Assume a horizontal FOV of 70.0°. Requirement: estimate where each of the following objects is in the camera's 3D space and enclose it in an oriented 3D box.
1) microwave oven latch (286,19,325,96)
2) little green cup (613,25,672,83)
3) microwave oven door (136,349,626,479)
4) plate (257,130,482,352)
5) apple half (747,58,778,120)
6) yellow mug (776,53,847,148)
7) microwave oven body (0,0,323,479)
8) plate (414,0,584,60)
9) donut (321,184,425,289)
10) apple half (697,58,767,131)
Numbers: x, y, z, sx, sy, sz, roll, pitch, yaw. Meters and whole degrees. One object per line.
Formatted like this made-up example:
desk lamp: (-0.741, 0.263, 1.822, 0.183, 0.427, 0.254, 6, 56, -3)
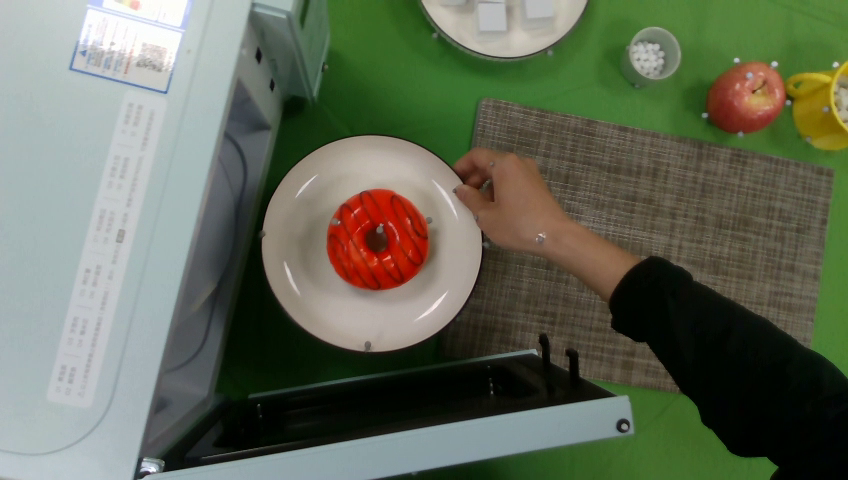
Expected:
microwave oven latch: (-0.127, -0.198, 0.646, 0.030, 0.029, 0.079, 15, 87, -6)
little green cup: (0.254, -0.215, 0.710, 0.061, 0.038, 0.061, 0, 88, -6)
microwave oven door: (-0.035, 0.156, 0.546, 0.356, 0.243, 0.039, -8, 87, -7)
plate: (-0.051, 0.001, 0.579, 0.209, 0.038, 0.209, 0, 90, -7)
apple half: (0.386, -0.175, 0.707, 0.033, 0.081, 0.081, -17, 90, -2)
yellow mug: (0.485, -0.171, 0.722, 0.131, 0.064, 0.100, 21, 85, -5)
microwave oven body: (-0.298, -0.061, 0.525, 0.327, 0.260, 0.441, 13, 88, -7)
plate: (0.082, -0.306, 0.693, 0.208, 0.039, 0.207, 0, 88, -7)
donut: (-0.047, -0.002, 0.567, 0.099, 0.048, 0.099, 0, 93, -7)
apple half: (0.349, -0.163, 0.703, 0.053, 0.074, 0.081, -16, 94, -2)
